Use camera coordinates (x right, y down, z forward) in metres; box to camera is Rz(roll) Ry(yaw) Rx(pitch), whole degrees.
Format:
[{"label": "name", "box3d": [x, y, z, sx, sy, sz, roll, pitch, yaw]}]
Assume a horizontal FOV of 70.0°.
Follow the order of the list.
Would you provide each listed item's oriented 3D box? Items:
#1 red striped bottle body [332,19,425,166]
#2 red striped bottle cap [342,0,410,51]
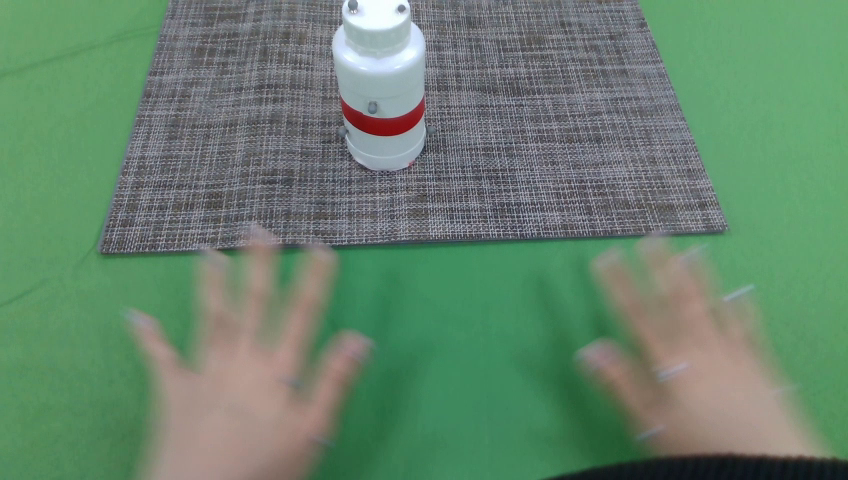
[{"label": "red striped bottle body", "box3d": [-0.031, -0.113, 0.433, 0.063, 0.120, 0.062, 0, 57, 0]}, {"label": "red striped bottle cap", "box3d": [-0.031, -0.143, 0.388, 0.044, 0.018, 0.044, 1, 60, -1]}]
